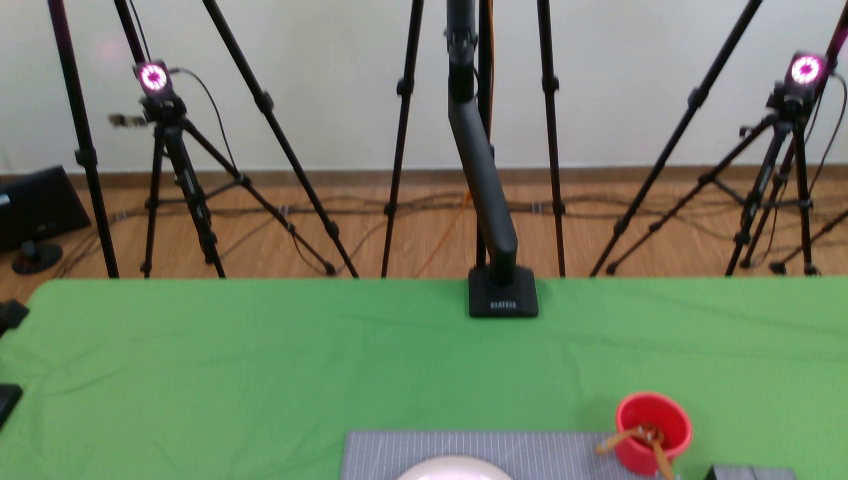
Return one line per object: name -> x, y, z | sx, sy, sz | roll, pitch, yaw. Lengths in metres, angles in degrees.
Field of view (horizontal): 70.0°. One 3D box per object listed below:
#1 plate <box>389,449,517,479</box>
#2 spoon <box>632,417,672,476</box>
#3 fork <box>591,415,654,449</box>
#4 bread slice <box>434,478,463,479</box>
plate -> 0.037, 0.366, 0.756 | 0.209, 0.038, 0.207 | -1, 43, 1
spoon -> 0.294, 0.262, 0.779 | 0.041, 0.021, 0.194 | 2, -2, 13
fork -> 0.259, 0.248, 0.785 | 0.028, 0.018, 0.209 | 19, 3, 37
bread slice -> 0.030, 0.364, 0.762 | 0.105, 0.019, 0.130 | 5, 44, 6
